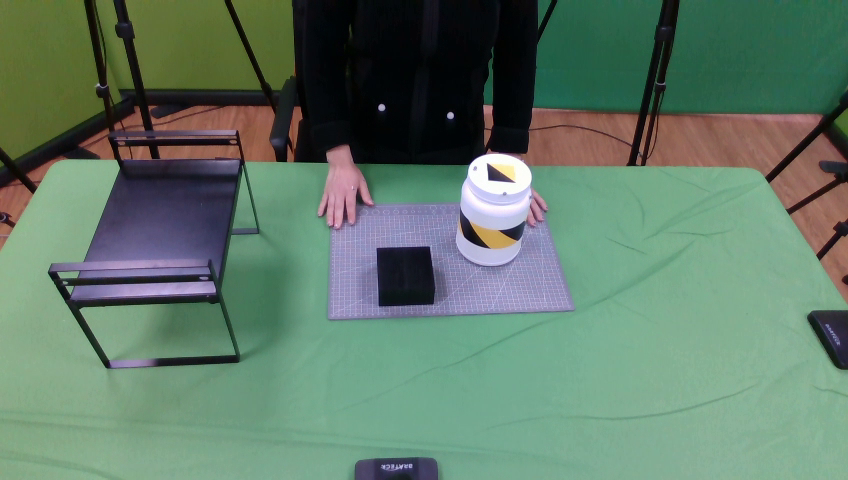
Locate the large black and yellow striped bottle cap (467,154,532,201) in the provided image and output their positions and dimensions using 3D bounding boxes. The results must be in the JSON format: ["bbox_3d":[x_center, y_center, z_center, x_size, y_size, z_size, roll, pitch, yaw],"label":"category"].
[{"bbox_3d":[0.135,-0.114,1.082,0.115,0.019,0.114,3,46,-3],"label":"large black and yellow striped bottle cap"}]

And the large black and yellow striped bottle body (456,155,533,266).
[{"bbox_3d":[0.132,-0.056,1.142,0.131,0.185,0.130,2,46,-2],"label":"large black and yellow striped bottle body"}]
